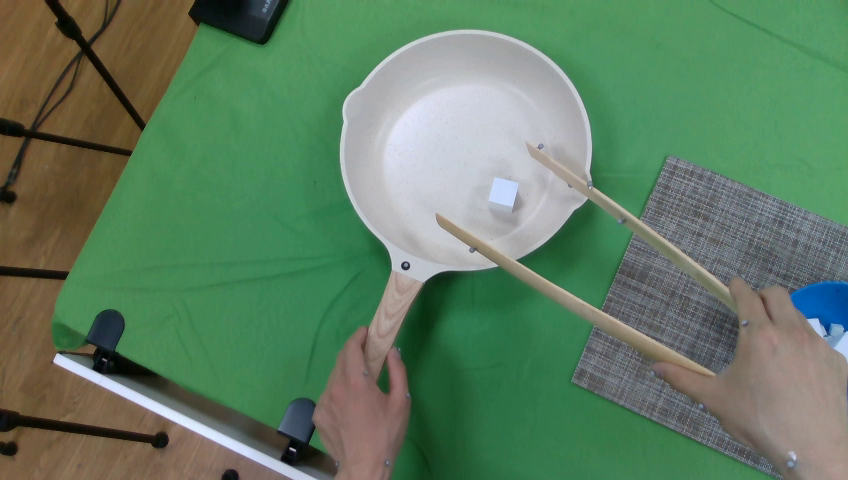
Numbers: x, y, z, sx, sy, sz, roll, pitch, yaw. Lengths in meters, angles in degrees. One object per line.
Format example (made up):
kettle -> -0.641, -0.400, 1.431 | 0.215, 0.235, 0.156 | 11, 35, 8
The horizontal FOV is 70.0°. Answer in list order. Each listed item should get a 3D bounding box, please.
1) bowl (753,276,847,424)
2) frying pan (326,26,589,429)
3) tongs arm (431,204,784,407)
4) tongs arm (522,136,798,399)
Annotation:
bowl -> 0.422, 0.117, 0.653 | 0.151, 0.077, 0.151 | -1, 80, 4
frying pan -> 0.002, -0.018, 0.699 | 0.306, 0.103, 0.486 | 23, 74, 9
tongs arm -> 0.135, 0.044, 0.571 | 0.028, 0.028, 0.383 | -40, 46, -20
tongs arm -> 0.194, -0.001, 0.584 | 0.051, 0.027, 0.380 | -34, 46, -9
